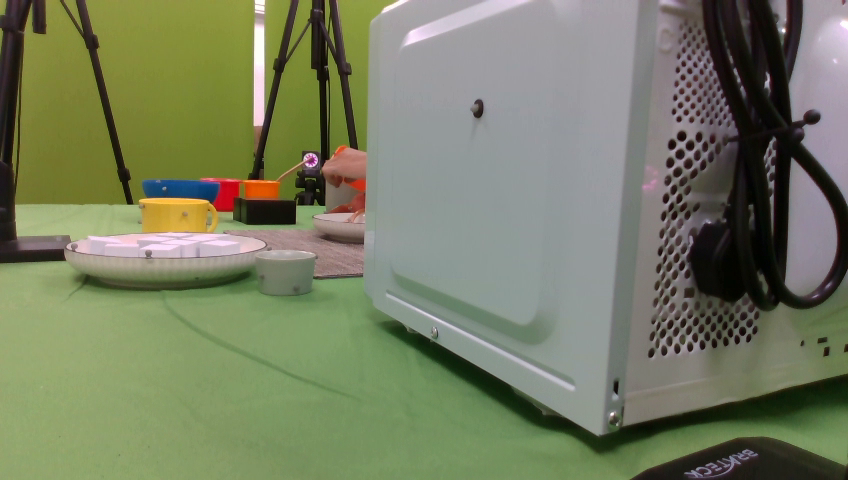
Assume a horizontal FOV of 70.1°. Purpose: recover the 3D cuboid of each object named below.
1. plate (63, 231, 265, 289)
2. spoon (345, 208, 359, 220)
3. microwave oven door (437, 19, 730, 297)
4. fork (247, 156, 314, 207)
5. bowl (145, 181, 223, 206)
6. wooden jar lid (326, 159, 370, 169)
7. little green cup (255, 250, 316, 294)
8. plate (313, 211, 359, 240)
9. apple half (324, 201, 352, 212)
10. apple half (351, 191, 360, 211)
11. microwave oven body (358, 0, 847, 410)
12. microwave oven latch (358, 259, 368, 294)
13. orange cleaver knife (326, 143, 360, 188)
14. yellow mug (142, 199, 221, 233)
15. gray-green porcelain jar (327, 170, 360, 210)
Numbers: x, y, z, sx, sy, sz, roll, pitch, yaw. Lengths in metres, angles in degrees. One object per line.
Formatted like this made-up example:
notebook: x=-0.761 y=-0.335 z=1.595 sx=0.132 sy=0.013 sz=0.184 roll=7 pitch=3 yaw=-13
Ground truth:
plate: x=-0.288 y=0.021 z=0.687 sx=0.208 sy=0.039 sz=0.207 roll=2 pitch=8 yaw=0
spoon: x=-0.124 y=-0.047 z=1.117 sx=0.041 sy=0.021 sz=0.194 roll=-2 pitch=18 yaw=17
microwave oven door: x=0.180 y=-0.076 z=0.618 sx=0.358 sy=0.243 sz=0.039 roll=-2 pitch=9 yaw=-28
fork: x=-0.360 y=-0.147 z=1.523 sx=0.207 sy=0.018 sz=0.028 roll=-43 pitch=15 yaw=-7
bowl: x=-0.499 y=-0.081 z=1.261 sx=0.151 sy=0.077 sz=0.151 roll=2 pitch=8 yaw=0
wooden jar lid: x=-0.185 y=-0.186 z=1.481 sx=0.108 sy=0.020 sz=0.108 roll=4 pitch=6 yaw=0
little green cup: x=-0.144 y=0.032 z=0.627 sx=0.061 sy=0.038 sz=0.061 roll=3 pitch=6 yaw=0
plate: x=-0.091 y=-0.026 z=1.063 sx=0.209 sy=0.038 sz=0.209 roll=2 pitch=7 yaw=0
apple half: x=-0.179 y=-0.059 z=1.313 sx=0.081 sy=0.033 sz=0.081 roll=-22 pitch=0 yaw=1
apple half: x=-0.106 y=-0.065 z=1.260 sx=0.081 sy=0.074 sz=0.053 roll=1 pitch=10 yaw=-34
microwave oven body: x=0.210 y=-0.051 z=0.471 sx=0.444 sy=0.260 sz=0.324 roll=-1 pitch=7 yaw=-28
microwave oven latch: x=-0.019 y=0.031 z=0.531 sx=0.079 sy=0.029 sz=0.030 roll=-2 pitch=7 yaw=-29
orange cleaver knife: x=-0.115 y=-0.144 z=1.327 sx=0.212 sy=0.077 sz=0.012 roll=21 pitch=-6 yaw=-31
yellow mug: x=-0.373 y=-0.030 z=0.948 sx=0.099 sy=0.064 sz=0.131 roll=6 pitch=7 yaw=30
gray-green porcelain jar: x=-0.187 y=-0.125 z=1.490 sx=0.106 sy=0.126 sz=0.106 roll=2 pitch=8 yaw=0
